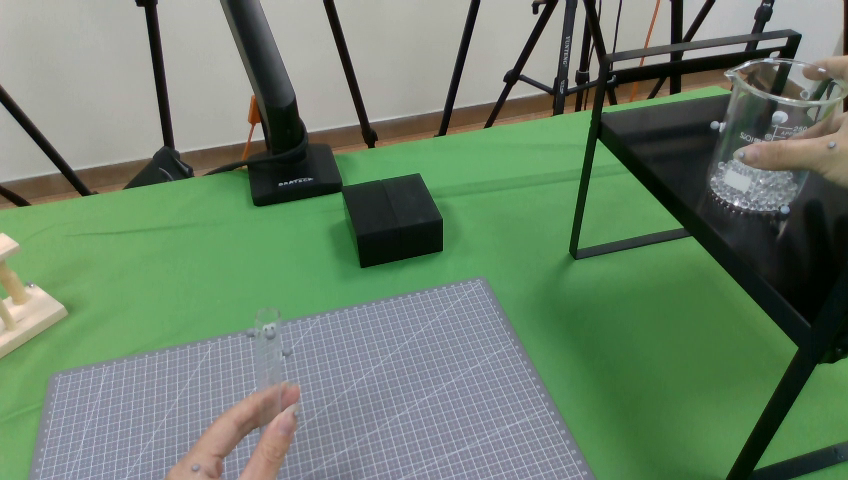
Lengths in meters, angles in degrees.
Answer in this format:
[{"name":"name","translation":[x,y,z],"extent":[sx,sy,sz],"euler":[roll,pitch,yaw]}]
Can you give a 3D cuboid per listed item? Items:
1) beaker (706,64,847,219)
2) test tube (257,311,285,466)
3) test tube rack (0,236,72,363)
[{"name":"beaker","translation":[0.263,-0.074,0.465],"extent":[0.083,0.101,0.074],"euler":[24,46,29]},{"name":"test tube","translation":[-0.103,0.107,0.412],"extent":[0.017,0.151,0.017],"euler":[6,36,-4]},{"name":"test tube rack","translation":[-0.479,0.102,0.569],"extent":[0.066,0.086,0.242],"euler":[24,46,28]}]
